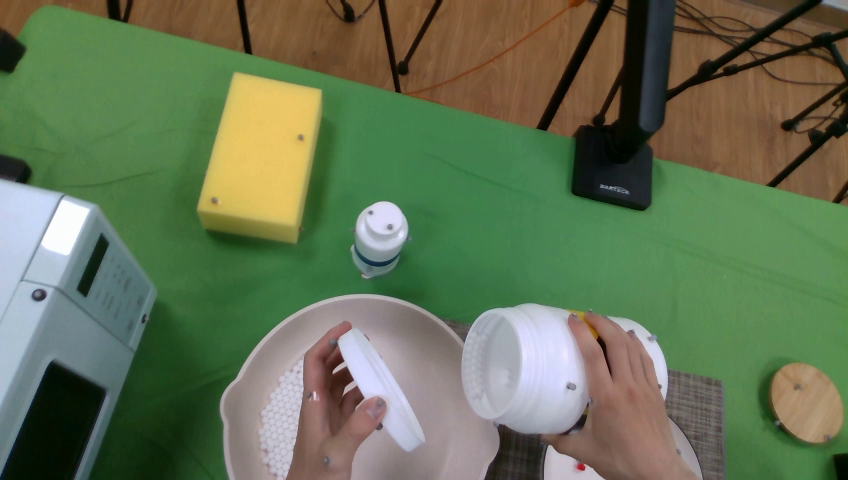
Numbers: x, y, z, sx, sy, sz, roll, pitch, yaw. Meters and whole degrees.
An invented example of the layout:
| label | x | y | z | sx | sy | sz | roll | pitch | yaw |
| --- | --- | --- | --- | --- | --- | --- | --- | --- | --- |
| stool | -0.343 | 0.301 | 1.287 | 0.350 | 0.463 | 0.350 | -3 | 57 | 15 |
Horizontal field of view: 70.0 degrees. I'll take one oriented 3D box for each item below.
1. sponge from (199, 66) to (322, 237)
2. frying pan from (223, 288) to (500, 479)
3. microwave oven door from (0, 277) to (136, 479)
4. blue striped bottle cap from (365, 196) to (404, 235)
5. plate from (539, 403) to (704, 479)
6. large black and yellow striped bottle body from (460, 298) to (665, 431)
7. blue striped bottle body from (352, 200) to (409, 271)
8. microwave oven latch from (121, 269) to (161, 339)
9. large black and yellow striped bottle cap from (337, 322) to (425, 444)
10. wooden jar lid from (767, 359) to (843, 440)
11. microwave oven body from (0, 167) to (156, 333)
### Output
| label | x | y | z | sx | sy | sz | roll | pitch | yaw |
| --- | --- | --- | --- | --- | --- | --- | --- | --- | --- |
| sponge | -0.209 | -0.117 | 0.799 | 0.118 | 0.061 | 0.205 | 9 | 68 | -8 |
| frying pan | -0.085 | 0.289 | 0.638 | 0.307 | 0.103 | 0.484 | 12 | 59 | -4 |
| microwave oven door | -0.356 | 0.230 | 0.516 | 0.039 | 0.245 | 0.353 | 14 | 67 | -5 |
| blue striped bottle cap | -0.046 | -0.029 | 0.708 | 0.045 | 0.021 | 0.044 | 4 | 70 | -9 |
| plate | 0.236 | 0.287 | 0.736 | 0.209 | 0.038 | 0.207 | 4 | 68 | -9 |
| large black and yellow striped bottle body | 0.143 | 0.132 | 0.638 | 0.185 | 0.131 | 0.130 | 11 | 65 | -27 |
| blue striped bottle body | -0.054 | -0.010 | 0.755 | 0.063 | 0.121 | 0.062 | 4 | 68 | -9 |
| microwave oven latch | -0.328 | 0.071 | 0.695 | 0.030 | 0.029 | 0.078 | 14 | 68 | -5 |
| large black and yellow striped bottle cap | -0.037 | 0.123 | 0.523 | 0.019 | 0.115 | 0.114 | -33 | 77 | -3 |
| wooden jar lid | 0.519 | 0.219 | 0.832 | 0.108 | 0.021 | 0.107 | 3 | 70 | -9 |
| microwave oven body | -0.489 | 0.159 | 0.524 | 0.327 | 0.261 | 0.439 | 14 | 67 | -6 |
